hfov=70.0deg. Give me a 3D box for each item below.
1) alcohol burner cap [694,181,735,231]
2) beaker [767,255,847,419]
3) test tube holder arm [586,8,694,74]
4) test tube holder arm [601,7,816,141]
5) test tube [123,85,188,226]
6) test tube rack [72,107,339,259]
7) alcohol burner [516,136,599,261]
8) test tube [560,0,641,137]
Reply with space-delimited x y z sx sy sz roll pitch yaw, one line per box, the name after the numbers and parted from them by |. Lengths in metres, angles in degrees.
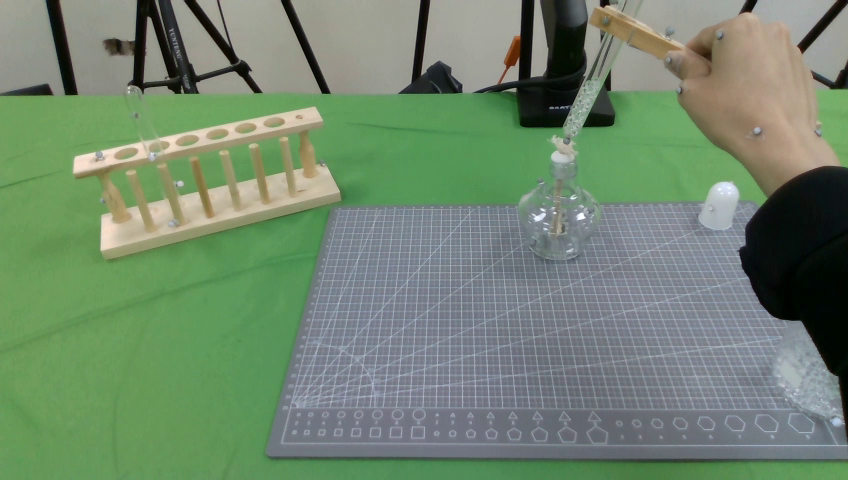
0.290 -0.037 0.602 0.034 0.048 0.033 -1 40 2 | alcohol burner cap
0.292 0.070 0.429 0.074 0.101 0.083 -19 42 -19 | beaker
0.158 -0.146 0.443 0.087 0.015 0.010 39 43 25 | test tube holder arm
0.190 -0.121 0.425 0.013 0.015 0.176 -19 51 -36 | test tube holder arm
-0.255 -0.077 0.580 0.017 0.152 0.017 -2 38 2 | test tube
-0.219 -0.063 0.632 0.243 0.086 0.066 -16 41 -16 | test tube rack
0.124 -0.041 0.560 0.078 0.120 0.077 -3 38 2 | alcohol burner
0.140 -0.145 0.471 0.017 0.151 0.017 11 39 -9 | test tube
